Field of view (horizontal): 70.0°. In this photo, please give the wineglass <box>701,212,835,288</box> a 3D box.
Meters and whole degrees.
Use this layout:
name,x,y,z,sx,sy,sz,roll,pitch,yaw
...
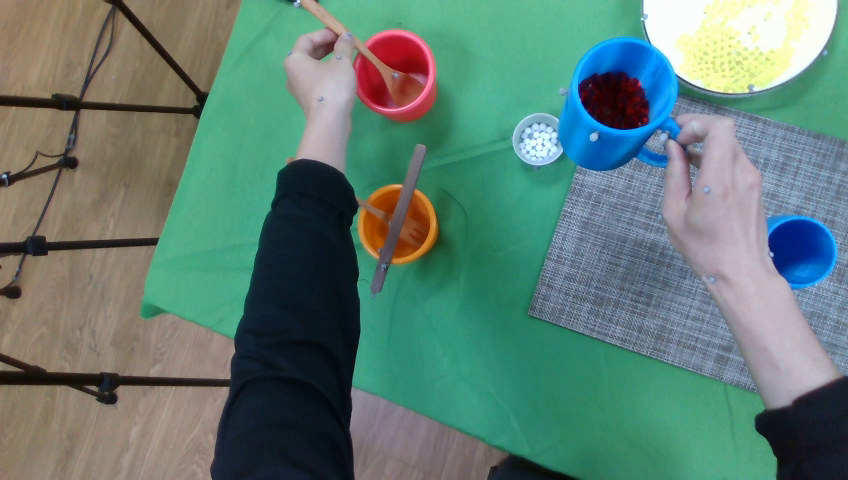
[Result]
name,x,y,z,sx,sy,sz,roll,pitch,yaw
wineglass,0.337,0.012,0.610,0.073,0.172,0.073,0,87,9

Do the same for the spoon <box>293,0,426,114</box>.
name,x,y,z,sx,sy,sz,roll,pitch,yaw
spoon,-0.070,-0.213,0.699,0.196,0.021,0.041,36,89,-36

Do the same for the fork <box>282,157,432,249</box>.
name,x,y,z,sx,sy,sz,roll,pitch,yaw
fork,-0.071,-0.040,0.692,0.209,0.018,0.028,30,98,-35

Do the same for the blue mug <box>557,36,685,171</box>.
name,x,y,z,sx,sy,sz,roll,pitch,yaw
blue mug,0.175,-0.104,0.526,0.116,0.106,0.082,40,87,10

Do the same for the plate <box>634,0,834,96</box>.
name,x,y,z,sx,sy,sz,roll,pitch,yaw
plate,0.345,-0.265,0.690,0.209,0.038,0.209,0,89,9

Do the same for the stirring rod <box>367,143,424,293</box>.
name,x,y,z,sx,sy,sz,roll,pitch,yaw
stirring rod,-0.033,-0.024,0.682,0.014,0.006,0.176,18,91,8

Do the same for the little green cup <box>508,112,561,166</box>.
name,x,y,z,sx,sy,sz,roll,pitch,yaw
little green cup,0.132,-0.117,0.718,0.061,0.039,0.061,0,88,10
